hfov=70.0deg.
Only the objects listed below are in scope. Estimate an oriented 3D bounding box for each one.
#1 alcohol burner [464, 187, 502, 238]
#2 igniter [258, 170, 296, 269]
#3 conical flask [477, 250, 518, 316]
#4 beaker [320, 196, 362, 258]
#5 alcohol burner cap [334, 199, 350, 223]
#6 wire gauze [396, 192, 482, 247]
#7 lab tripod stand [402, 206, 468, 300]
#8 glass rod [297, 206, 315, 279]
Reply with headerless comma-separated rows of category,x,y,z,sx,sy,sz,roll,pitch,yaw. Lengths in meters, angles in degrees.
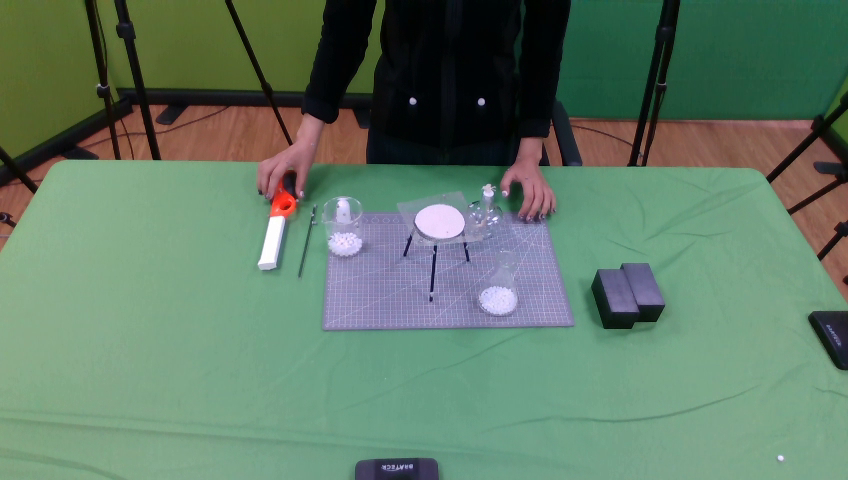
alcohol burner,0.120,-0.061,1.201,0.078,0.119,0.077,4,47,-4
igniter,-0.294,-0.050,1.221,0.057,0.025,0.274,-7,45,6
conical flask,0.136,0.072,1.067,0.075,0.122,0.075,2,46,-2
beaker,-0.156,-0.021,1.150,0.084,0.101,0.073,-30,54,-28
alcohol burner cap,-0.167,-0.061,1.227,0.034,0.048,0.033,2,46,-2
wire gauze,0.025,-0.036,1.061,0.125,0.011,0.120,-9,47,-14
lab tripod stand,0.023,0.013,1.108,0.148,0.132,0.147,3,44,-2
glass rod,-0.231,0.000,1.191,0.008,0.008,0.198,2,45,-1
